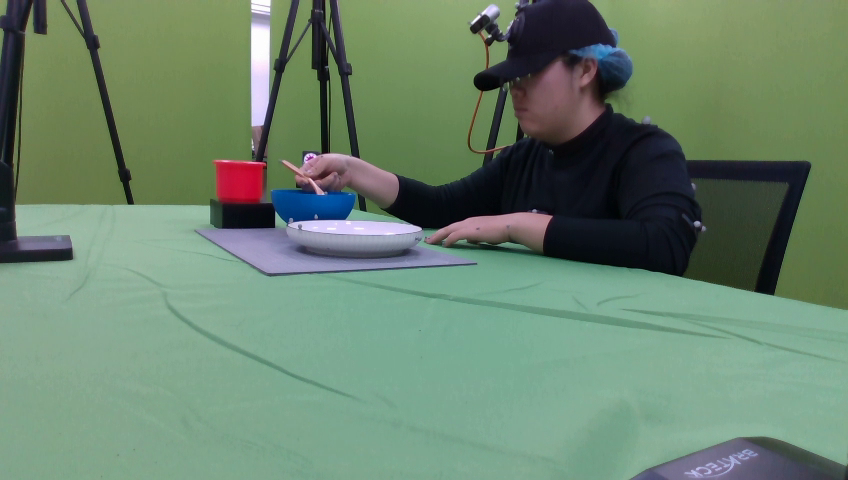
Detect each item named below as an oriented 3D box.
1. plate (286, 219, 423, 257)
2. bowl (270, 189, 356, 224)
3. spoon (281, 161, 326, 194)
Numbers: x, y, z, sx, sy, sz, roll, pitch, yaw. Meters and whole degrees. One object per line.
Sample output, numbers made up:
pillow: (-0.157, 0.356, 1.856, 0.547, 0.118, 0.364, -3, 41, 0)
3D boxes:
plate: (-0.105, -0.004, 0.922, 0.208, 0.039, 0.207, 3, 8, 0)
bowl: (-0.198, -0.049, 1.080, 0.151, 0.077, 0.151, 3, 7, 0)
spoon: (-0.206, -0.102, 1.105, 0.042, 0.021, 0.193, -7, 39, -46)
